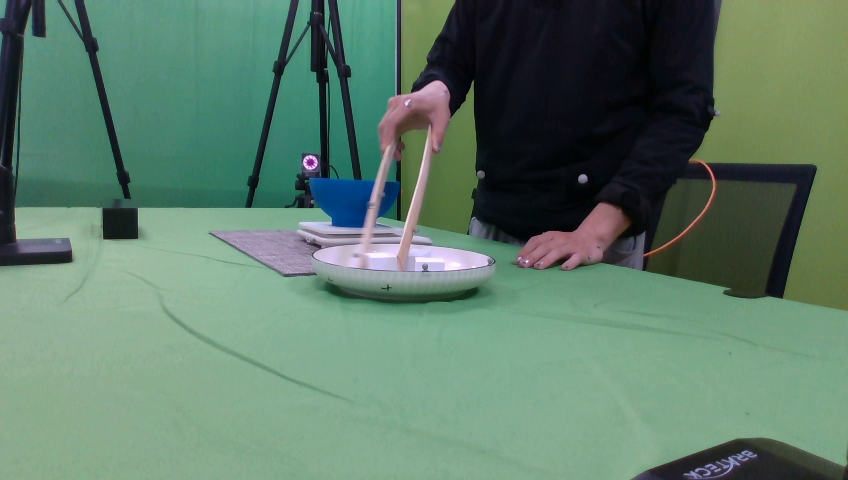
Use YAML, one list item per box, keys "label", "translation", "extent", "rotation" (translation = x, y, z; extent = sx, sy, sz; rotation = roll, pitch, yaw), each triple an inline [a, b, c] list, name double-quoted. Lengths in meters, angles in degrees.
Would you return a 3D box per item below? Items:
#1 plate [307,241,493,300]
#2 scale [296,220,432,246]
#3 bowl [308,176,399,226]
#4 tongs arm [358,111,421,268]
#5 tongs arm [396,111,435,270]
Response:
- label: "plate"
  translation: [-0.026, 0.034, 0.684]
  extent: [0.208, 0.039, 0.207]
  rotation: [2, 7, 0]
- label: "scale"
  translation: [-0.101, -0.012, 1.017]
  extent: [0.202, 0.031, 0.148]
  rotation: [-1, 8, -30]
- label: "bowl"
  translation: [-0.116, -0.064, 1.001]
  extent: [0.151, 0.077, 0.151]
  rotation: [2, 6, 0]
- label: "tongs arm"
  translation: [-0.038, -0.079, 0.805]
  extent: [0.051, 0.026, 0.384]
  rotation: [-5, 35, 7]
- label: "tongs arm"
  translation: [-0.010, -0.080, 0.800]
  extent: [0.028, 0.028, 0.387]
  rotation: [-6, 35, 11]
